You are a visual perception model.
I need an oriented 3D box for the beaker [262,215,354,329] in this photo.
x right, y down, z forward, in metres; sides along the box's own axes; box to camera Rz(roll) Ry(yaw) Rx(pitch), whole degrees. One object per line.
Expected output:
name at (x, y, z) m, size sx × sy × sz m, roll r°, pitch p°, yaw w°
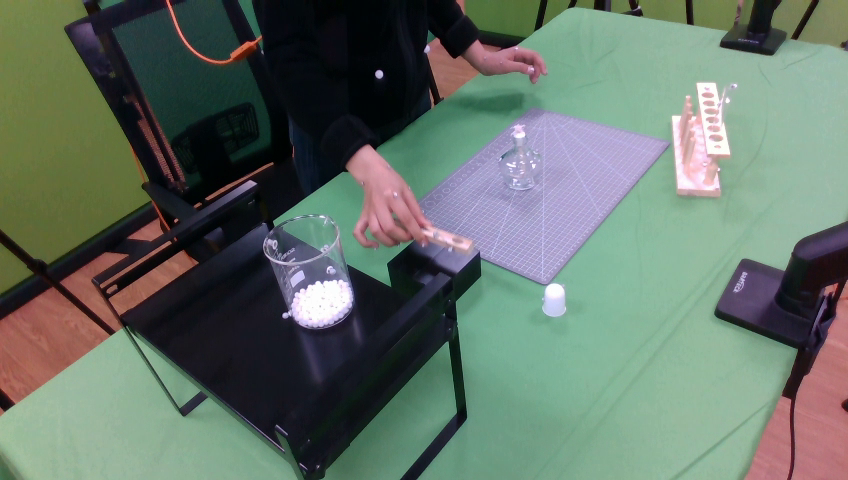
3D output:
beaker at (-0.112, 0.034, 0.616) m, size 0.073 × 0.101 × 0.084 m, roll 13°, pitch 44°, yaw 23°

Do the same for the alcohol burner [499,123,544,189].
alcohol burner at (0.168, -0.149, 1.048) m, size 0.078 × 0.119 × 0.077 m, roll -6°, pitch 41°, yaw 6°

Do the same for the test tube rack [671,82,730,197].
test tube rack at (0.482, -0.184, 1.067) m, size 0.066 × 0.085 × 0.242 m, roll 5°, pitch 42°, yaw 15°

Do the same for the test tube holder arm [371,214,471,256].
test tube holder arm at (-0.008, -0.009, 0.879) m, size 0.177 × 0.015 × 0.013 m, roll 17°, pitch 48°, yaw 31°

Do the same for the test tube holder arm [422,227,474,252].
test tube holder arm at (0.032, -0.001, 0.858) m, size 0.087 × 0.015 × 0.010 m, roll 18°, pitch 48°, yaw 32°

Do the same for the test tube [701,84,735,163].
test tube at (0.483, -0.189, 0.996) m, size 0.017 × 0.151 × 0.017 m, roll -2°, pitch 46°, yaw 3°

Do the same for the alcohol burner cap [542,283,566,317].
alcohol burner cap at (0.181, 0.080, 0.839) m, size 0.034 × 0.048 × 0.033 m, roll -4°, pitch 40°, yaw 4°
